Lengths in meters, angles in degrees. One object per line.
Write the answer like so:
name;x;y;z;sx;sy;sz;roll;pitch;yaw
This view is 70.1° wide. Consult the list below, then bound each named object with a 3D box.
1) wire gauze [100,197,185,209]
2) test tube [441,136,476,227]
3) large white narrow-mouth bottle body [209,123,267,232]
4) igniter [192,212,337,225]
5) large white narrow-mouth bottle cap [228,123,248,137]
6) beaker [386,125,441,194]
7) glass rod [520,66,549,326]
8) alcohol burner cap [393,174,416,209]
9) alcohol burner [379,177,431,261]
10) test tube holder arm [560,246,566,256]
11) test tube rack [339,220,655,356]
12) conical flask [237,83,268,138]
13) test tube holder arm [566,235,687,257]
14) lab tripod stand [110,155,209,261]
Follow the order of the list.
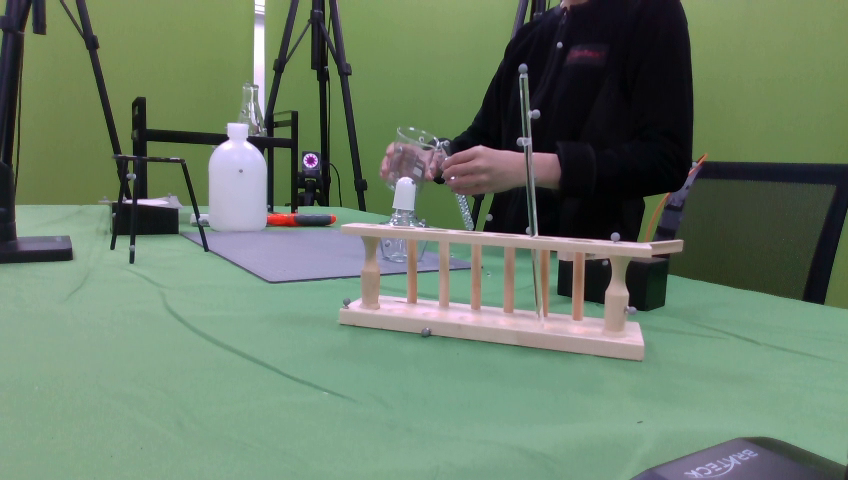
wire gauze;-0.469;-0.062;1.008;0.126;0.011;0.121;-2;8;-25
test tube;0.056;-0.090;0.951;0.017;0.150;0.017;-17;12;4
large white narrow-mouth bottle body;-0.340;-0.115;1.109;0.102;0.194;0.102;2;8;0
igniter;-0.312;-0.043;1.203;0.278;0.025;0.057;-1;-5;-25
large white narrow-mouth bottle cap;-0.338;-0.199;1.097;0.038;0.024;0.037;2;8;0
beaker;-0.019;-0.134;1.030;0.084;0.100;0.074;24;27;15
glass rod;0.084;-0.029;0.458;0.008;0.199;0.008;-6;11;2
alcohol burner cap;-0.025;-0.067;0.834;0.034;0.048;0.034;8;7;-1
alcohol burner;-0.027;-0.031;0.838;0.078;0.119;0.078;0;6;0
test tube holder arm;0.173;0.007;0.611;0.088;0.015;0.010;-3;9;-30
test tube rack;0.056;0.032;0.495;0.242;0.085;0.067;4;7;15
conical flask;-0.402;-0.299;1.406;0.075;0.122;0.075;2;7;0
test tube holder arm;0.215;0.006;0.629;0.179;0.015;0.013;-3;9;-30
lab tripod stand;-0.361;-0.046;0.806;0.148;0.131;0.148;2;5;0
